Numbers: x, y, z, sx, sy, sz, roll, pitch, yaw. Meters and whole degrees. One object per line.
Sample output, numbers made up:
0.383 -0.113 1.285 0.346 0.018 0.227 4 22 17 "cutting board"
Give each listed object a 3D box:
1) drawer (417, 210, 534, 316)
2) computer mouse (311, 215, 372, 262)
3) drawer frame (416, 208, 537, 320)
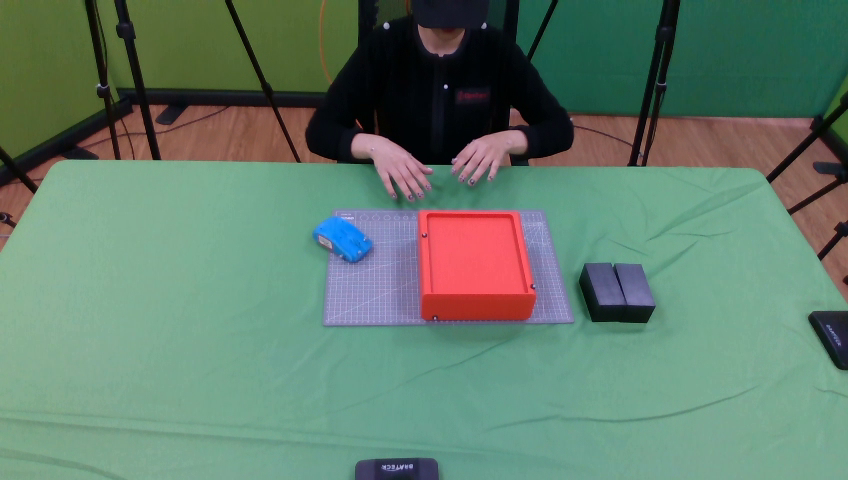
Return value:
0.088 0.040 1.122 0.195 0.073 0.210 1 47 -4 "drawer"
-0.160 -0.007 1.178 0.117 0.041 0.062 32 50 19 "computer mouse"
0.089 0.040 1.120 0.202 0.083 0.212 0 47 -5 "drawer frame"
